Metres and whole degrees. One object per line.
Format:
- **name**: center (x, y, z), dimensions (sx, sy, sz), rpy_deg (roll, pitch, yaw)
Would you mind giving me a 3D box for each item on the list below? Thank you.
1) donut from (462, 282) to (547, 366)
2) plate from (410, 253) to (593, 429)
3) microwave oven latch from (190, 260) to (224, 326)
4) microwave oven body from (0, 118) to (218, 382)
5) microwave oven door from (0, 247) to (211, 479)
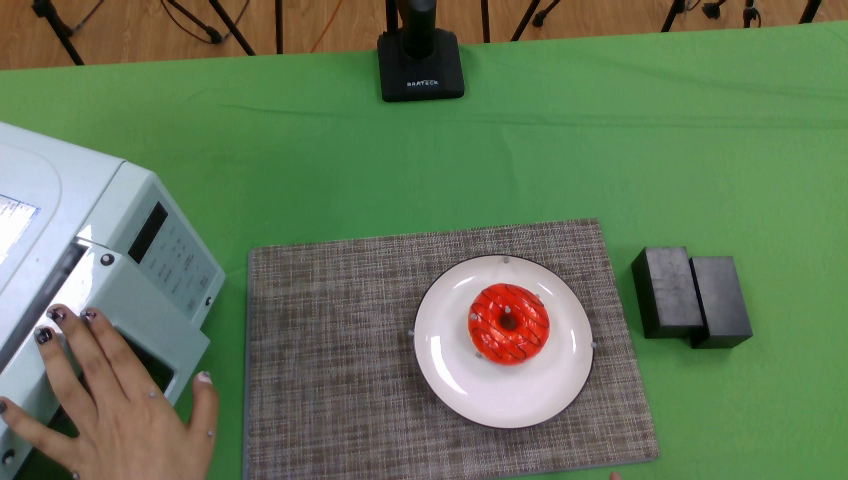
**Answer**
- **donut**: center (0.093, 0.097, 0.701), dimensions (0.099, 0.048, 0.098), rpy_deg (2, 66, -3)
- **plate**: center (0.089, 0.116, 0.704), dimensions (0.209, 0.038, 0.207), rpy_deg (1, 65, -2)
- **microwave oven latch**: center (-0.261, 0.060, 0.703), dimensions (0.030, 0.030, 0.078), rpy_deg (18, 66, 6)
- **microwave oven body**: center (-0.455, 0.125, 0.558), dimensions (0.325, 0.262, 0.439), rpy_deg (18, 66, 5)
- **microwave oven door**: center (-0.321, 0.204, 0.520), dimensions (0.039, 0.245, 0.354), rpy_deg (20, 66, 8)
